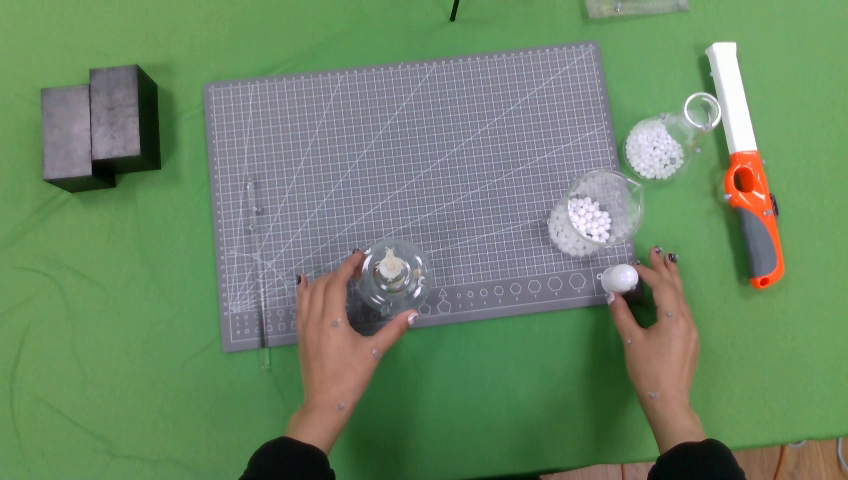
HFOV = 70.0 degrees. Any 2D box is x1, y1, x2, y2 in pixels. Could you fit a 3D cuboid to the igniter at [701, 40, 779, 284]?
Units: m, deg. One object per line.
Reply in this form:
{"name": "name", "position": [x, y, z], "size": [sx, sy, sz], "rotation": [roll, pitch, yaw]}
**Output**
{"name": "igniter", "position": [0.348, -0.090, 0.668], "size": [0.057, 0.025, 0.275], "rotation": [-5, 81, -13]}

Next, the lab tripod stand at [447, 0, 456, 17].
{"name": "lab tripod stand", "position": [0.075, -0.322, 0.646], "size": [0.148, 0.132, 0.148], "rotation": [0, 83, -1]}

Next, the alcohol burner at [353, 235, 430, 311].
{"name": "alcohol burner", "position": [-0.034, 0.030, 0.597], "size": [0.078, 0.119, 0.077], "rotation": [0, 80, 1]}

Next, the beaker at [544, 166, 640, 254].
{"name": "beaker", "position": [0.168, -0.027, 0.617], "size": [0.084, 0.100, 0.074], "rotation": [-31, 83, -6]}

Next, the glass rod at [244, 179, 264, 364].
{"name": "glass rod", "position": [-0.181, 0.032, 0.646], "size": [0.008, 0.008, 0.199], "rotation": [-6, 84, -2]}

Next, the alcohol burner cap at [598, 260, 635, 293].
{"name": "alcohol burner cap", "position": [0.204, 0.036, 0.636], "size": [0.034, 0.048, 0.033], "rotation": [0, 79, 0]}

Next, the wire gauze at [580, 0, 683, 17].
{"name": "wire gauze", "position": [0.234, -0.322, 0.712], "size": [0.125, 0.011, 0.121], "rotation": [-8, 82, -4]}

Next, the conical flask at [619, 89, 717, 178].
{"name": "conical flask", "position": [0.254, -0.114, 0.623], "size": [0.075, 0.122, 0.075], "rotation": [0, 80, 0]}
